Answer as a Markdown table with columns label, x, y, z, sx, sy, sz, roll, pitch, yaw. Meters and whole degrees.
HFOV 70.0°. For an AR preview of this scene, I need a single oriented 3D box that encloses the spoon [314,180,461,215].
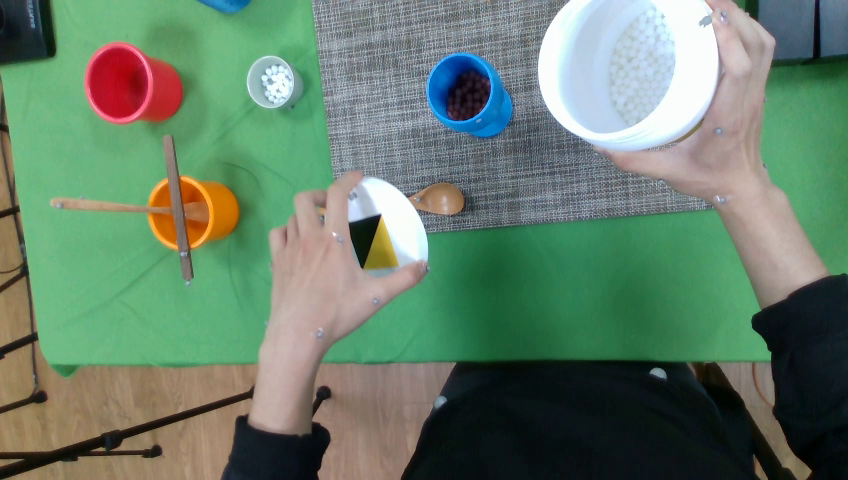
| label | x | y | z | sx | sy | sz | roll | pitch | yaw |
| --- | --- | --- | --- | --- | --- | --- | --- | --- | --- |
| spoon | -0.048 | -0.046 | 0.738 | 0.193 | 0.021 | 0.042 | -6 | 117 | 13 |

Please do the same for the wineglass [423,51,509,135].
| label | x | y | z | sx | sy | sz | roll | pitch | yaw |
| --- | --- | --- | --- | --- | --- | --- | --- | --- | --- |
| wineglass | 0.048 | -0.147 | 0.626 | 0.073 | 0.172 | 0.074 | 1 | 96 | 13 |

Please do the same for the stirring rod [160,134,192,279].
| label | x | y | z | sx | sy | sz | roll | pitch | yaw |
| --- | --- | --- | --- | --- | --- | --- | --- | --- | --- |
| stirring rod | -0.299 | -0.039 | 0.731 | 0.014 | 0.006 | 0.176 | -5 | 96 | 14 |

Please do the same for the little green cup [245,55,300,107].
| label | x | y | z | sx | sy | sz | roll | pitch | yaw |
| --- | --- | --- | --- | --- | --- | --- | --- | --- | --- |
| little green cup | -0.184 | -0.193 | 0.745 | 0.061 | 0.038 | 0.061 | 2 | 98 | 13 |

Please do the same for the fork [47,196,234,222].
| label | x | y | z | sx | sy | sz | roll | pitch | yaw |
| --- | --- | --- | --- | --- | --- | --- | --- | --- | --- |
| fork | -0.340 | -0.039 | 0.742 | 0.209 | 0.018 | 0.028 | 3 | 107 | -31 |

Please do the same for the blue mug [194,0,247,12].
| label | x | y | z | sx | sy | sz | roll | pitch | yaw |
| --- | --- | --- | --- | --- | --- | --- | --- | --- | --- |
| blue mug | -0.246 | -0.321 | 0.708 | 0.116 | 0.106 | 0.082 | 9 | 99 | 11 |

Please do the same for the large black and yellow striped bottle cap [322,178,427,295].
| label | x | y | z | sx | sy | sz | roll | pitch | yaw |
| --- | --- | --- | --- | --- | --- | --- | --- | --- | --- |
| large black and yellow striped bottle cap | -0.049 | -0.002 | 0.576 | 0.114 | 0.019 | 0.116 | 16 | 122 | 29 |

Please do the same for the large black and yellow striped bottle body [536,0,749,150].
| label | x | y | z | sx | sy | sz | roll | pitch | yaw |
| --- | --- | --- | --- | --- | --- | --- | --- | --- | --- |
| large black and yellow striped bottle body | 0.183 | -0.144 | 0.503 | 0.130 | 0.184 | 0.131 | 11 | 108 | 36 |
